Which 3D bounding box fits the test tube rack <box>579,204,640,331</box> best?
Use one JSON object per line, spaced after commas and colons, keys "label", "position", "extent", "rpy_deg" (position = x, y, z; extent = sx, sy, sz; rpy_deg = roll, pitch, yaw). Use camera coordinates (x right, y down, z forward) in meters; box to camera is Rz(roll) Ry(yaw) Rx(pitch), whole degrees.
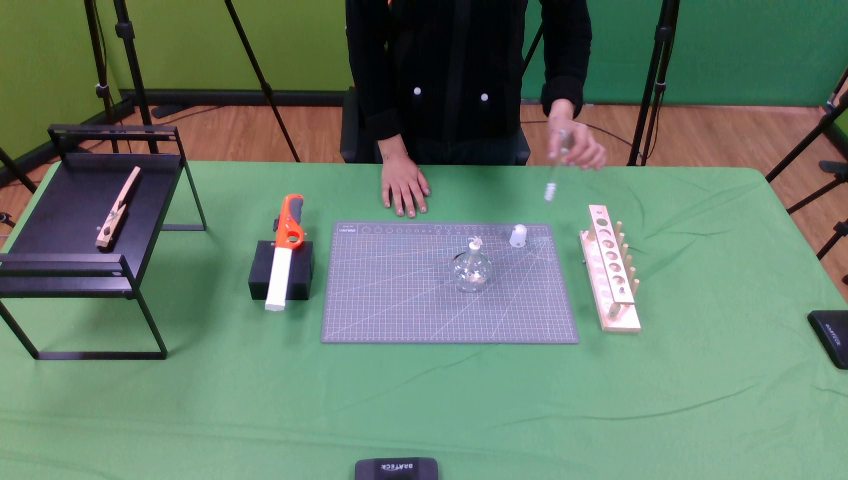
{"label": "test tube rack", "position": [0.353, 0.047, 1.137], "extent": [0.067, 0.085, 0.241], "rpy_deg": [2, 46, -2]}

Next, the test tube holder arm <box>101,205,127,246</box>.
{"label": "test tube holder arm", "position": [-0.480, -0.025, 0.938], "extent": [0.010, 0.015, 0.087], "rpy_deg": [27, 37, -26]}

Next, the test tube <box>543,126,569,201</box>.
{"label": "test tube", "position": [0.234, -0.133, 1.076], "extent": [0.017, 0.151, 0.017], "rpy_deg": [4, 38, -3]}

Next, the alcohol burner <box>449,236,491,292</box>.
{"label": "alcohol burner", "position": [0.086, 0.038, 1.101], "extent": [0.078, 0.119, 0.077], "rpy_deg": [3, 44, -2]}

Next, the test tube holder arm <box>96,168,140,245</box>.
{"label": "test tube holder arm", "position": [-0.486, -0.058, 0.968], "extent": [0.013, 0.015, 0.177], "rpy_deg": [27, 37, -27]}

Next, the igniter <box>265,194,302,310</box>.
{"label": "igniter", "position": [-0.253, 0.011, 1.099], "extent": [0.057, 0.025, 0.274], "rpy_deg": [9, 46, -12]}

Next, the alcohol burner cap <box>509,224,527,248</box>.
{"label": "alcohol burner cap", "position": [0.189, -0.011, 1.206], "extent": [0.034, 0.048, 0.033], "rpy_deg": [2, 46, -2]}
